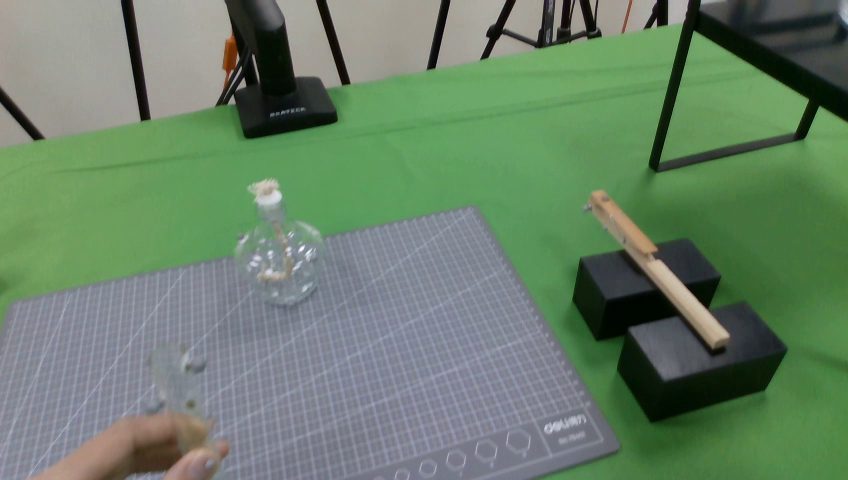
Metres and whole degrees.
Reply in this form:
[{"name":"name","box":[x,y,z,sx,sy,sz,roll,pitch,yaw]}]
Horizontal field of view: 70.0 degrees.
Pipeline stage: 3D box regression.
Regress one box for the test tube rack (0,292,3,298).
[{"name":"test tube rack","box":[-0.497,0.066,0.485,0.066,0.086,0.242,30,49,32]}]

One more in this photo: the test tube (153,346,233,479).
[{"name":"test tube","box":[-0.104,0.109,0.293,0.017,0.151,0.017,0,35,1]}]

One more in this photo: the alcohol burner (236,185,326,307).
[{"name":"alcohol burner","box":[-0.125,0.001,0.523,0.078,0.120,0.077,0,41,0]}]

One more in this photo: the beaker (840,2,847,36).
[{"name":"beaker","box":[0.347,-0.190,0.423,0.084,0.101,0.073,8,46,10]}]

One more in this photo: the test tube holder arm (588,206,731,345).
[{"name":"test tube holder arm","box":[0.184,0.020,0.492,0.015,0.013,0.176,-7,39,-16]}]

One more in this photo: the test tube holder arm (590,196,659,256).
[{"name":"test tube holder arm","box":[0.171,-0.011,0.522,0.015,0.010,0.087,-7,39,-16]}]
